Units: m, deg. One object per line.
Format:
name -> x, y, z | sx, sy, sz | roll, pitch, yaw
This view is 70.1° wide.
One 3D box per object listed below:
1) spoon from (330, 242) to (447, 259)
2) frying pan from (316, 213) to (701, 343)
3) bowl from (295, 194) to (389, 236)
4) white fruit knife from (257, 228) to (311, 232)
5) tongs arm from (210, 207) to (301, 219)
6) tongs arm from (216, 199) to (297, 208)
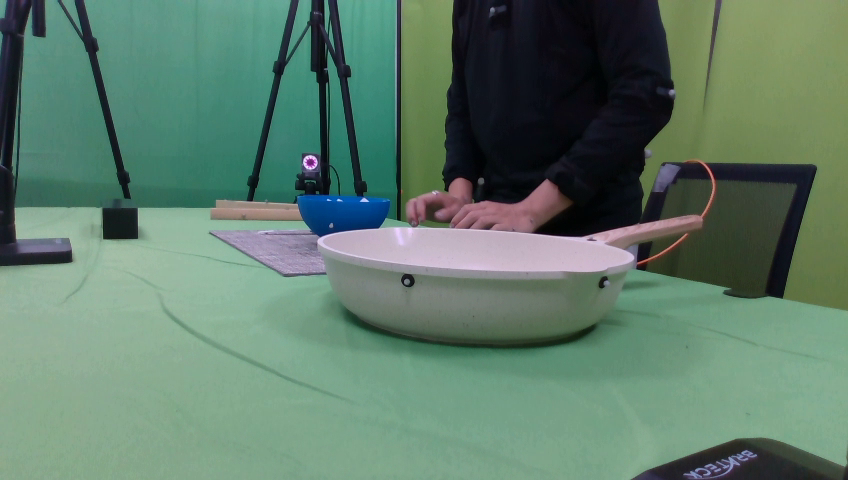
spoon -> -0.046, 0.011, 0.883 | 0.195, 0.021, 0.041 | -4, 24, -30
frying pan -> 0.133, 0.013, 0.629 | 0.490, 0.102, 0.305 | -12, 14, -30
bowl -> -0.132, -0.032, 0.980 | 0.151, 0.077, 0.151 | 2, 7, 0
white fruit knife -> -0.202, -0.021, 1.116 | 0.208, 0.016, 0.027 | -2, -1, -24
tongs arm -> -0.287, -0.062, 1.393 | 0.389, 0.028, 0.028 | 0, 5, -23
tongs arm -> -0.307, -0.076, 1.470 | 0.386, 0.026, 0.050 | 2, 8, -11
